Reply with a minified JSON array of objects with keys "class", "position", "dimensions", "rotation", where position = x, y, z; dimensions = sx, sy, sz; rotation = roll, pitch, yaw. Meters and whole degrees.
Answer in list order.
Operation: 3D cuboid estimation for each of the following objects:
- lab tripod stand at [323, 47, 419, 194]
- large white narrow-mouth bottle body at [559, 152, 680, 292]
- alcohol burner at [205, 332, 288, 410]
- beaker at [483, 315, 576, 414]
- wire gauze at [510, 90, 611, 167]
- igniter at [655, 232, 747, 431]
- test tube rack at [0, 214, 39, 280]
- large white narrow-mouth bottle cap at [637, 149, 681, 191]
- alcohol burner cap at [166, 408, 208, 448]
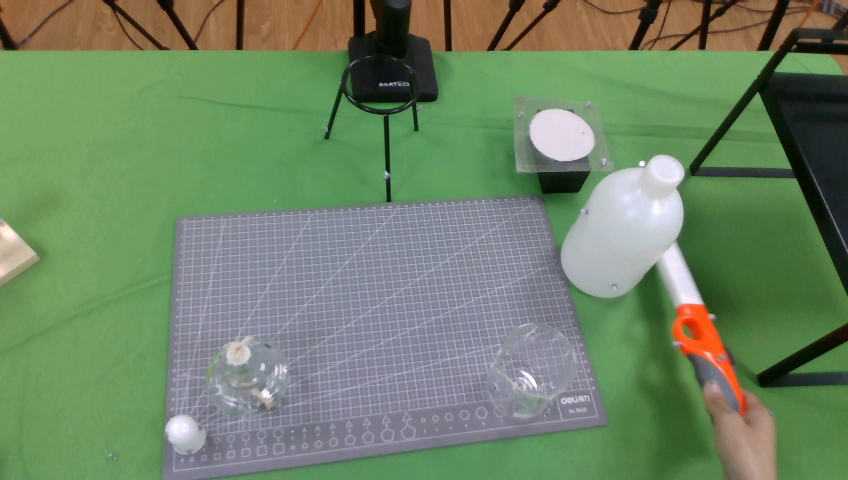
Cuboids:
[{"class":"lab tripod stand","position":[-0.055,-0.150,0.736],"dimensions":[0.149,0.132,0.147],"rotation":[4,61,-7]},{"class":"large white narrow-mouth bottle body","position":[0.221,-0.025,0.666],"dimensions":[0.102,0.196,0.101],"rotation":[3,60,-5]},{"class":"alcohol burner","position":[-0.170,0.118,0.576],"dimensions":[0.078,0.120,0.077],"rotation":[4,59,-7]},{"class":"beaker","position":[0.099,0.131,0.613],"dimensions":[0.084,0.101,0.073],"rotation":[-7,61,-10]},{"class":"wire gauze","position":[0.172,-0.143,0.778],"dimensions":[0.122,0.011,0.124],"rotation":[3,60,-6]},{"class":"igniter","position":[0.294,0.077,0.671],"dimensions":[0.057,0.025,0.273],"rotation":[3,51,-10]},{"class":"test tube rack","position":[-0.522,0.049,0.587],"dimensions":[0.066,0.086,0.242],"rotation":[39,63,14]},{"class":"large white narrow-mouth bottle cap","position":[0.229,-0.069,0.593],"dimensions":[0.038,0.024,0.037],"rotation":[3,60,-5]},{"class":"alcohol burner cap","position":[-0.228,0.177,0.576],"dimensions":[0.034,0.048,0.033],"rotation":[3,62,-5]}]
